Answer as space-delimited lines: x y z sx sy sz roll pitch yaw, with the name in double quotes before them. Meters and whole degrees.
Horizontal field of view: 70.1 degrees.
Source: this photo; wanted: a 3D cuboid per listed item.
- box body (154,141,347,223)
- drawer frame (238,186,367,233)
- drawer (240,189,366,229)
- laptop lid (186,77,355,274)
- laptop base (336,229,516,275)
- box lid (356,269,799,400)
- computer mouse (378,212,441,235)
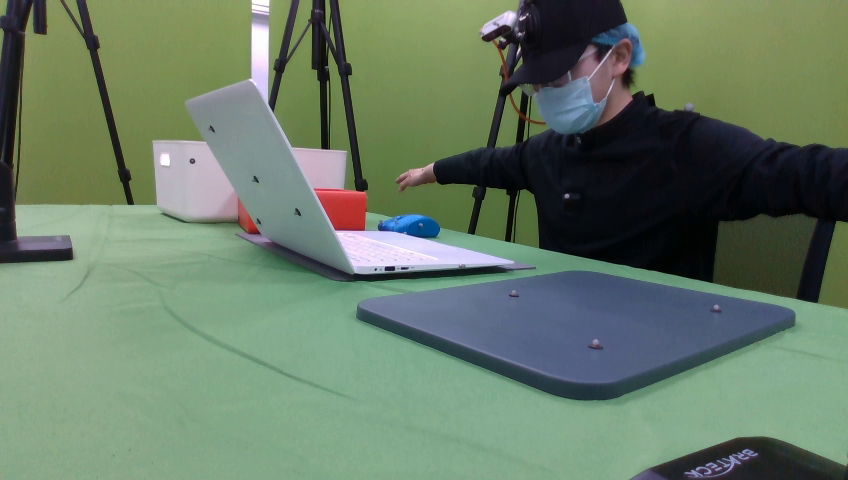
"box body" -0.384 -0.131 1.346 0.366 0.160 0.253 -3 9 -36
"drawer frame" -0.237 -0.063 1.157 0.214 0.082 0.201 -2 8 -23
"drawer" -0.235 -0.062 1.158 0.213 0.073 0.193 -1 7 -22
"laptop lid" -0.211 -0.081 0.772 0.013 0.242 0.355 -35 25 -23
"laptop base" -0.065 0.014 0.877 0.237 0.023 0.352 2 7 -32
"box lid" 0.152 0.068 0.564 0.374 0.015 0.262 -4 10 -41
"computer mouse" -0.027 -0.030 1.141 0.118 0.041 0.062 -4 12 -34
